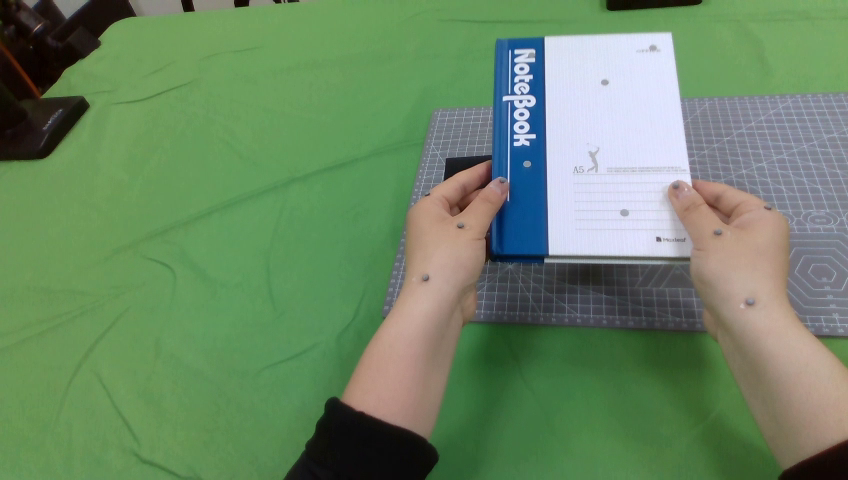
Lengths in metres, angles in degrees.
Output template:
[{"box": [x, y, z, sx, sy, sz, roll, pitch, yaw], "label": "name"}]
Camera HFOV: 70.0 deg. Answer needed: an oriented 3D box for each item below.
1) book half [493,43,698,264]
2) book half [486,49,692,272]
[{"box": [0.129, -0.076, 0.477, 0.143, 0.007, 0.208, 1, 62, 7], "label": "book half"}, {"box": [0.126, -0.072, 0.484, 0.148, 0.016, 0.208, 1, 63, 7], "label": "book half"}]
